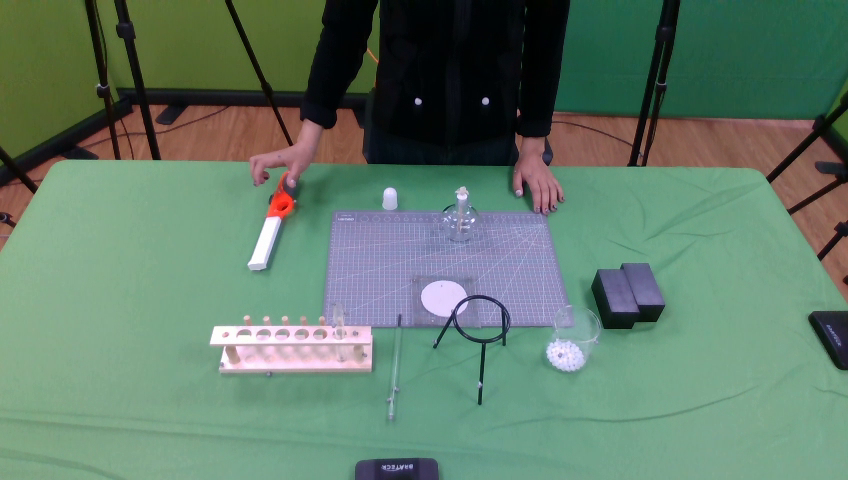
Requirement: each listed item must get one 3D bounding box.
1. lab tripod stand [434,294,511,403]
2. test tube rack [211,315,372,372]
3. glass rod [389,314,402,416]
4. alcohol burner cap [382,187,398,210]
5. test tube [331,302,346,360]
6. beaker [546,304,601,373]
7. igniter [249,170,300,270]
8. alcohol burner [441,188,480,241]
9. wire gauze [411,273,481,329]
[{"bbox_3d":[0.087,0.164,0.969,0.148,0.132,0.147,3,47,-3],"label":"lab tripod stand"},{"bbox_3d":[-0.208,0.163,0.982,0.242,0.085,0.066,1,46,-4],"label":"test tube rack"},{"bbox_3d":[-0.048,0.203,1.007,0.008,0.008,0.198,4,45,0],"label":"glass rod"},{"bbox_3d":[-0.072,-0.090,1.266,0.034,0.048,0.033,2,48,-2],"label":"alcohol burner cap"},{"bbox_3d":[-0.132,0.144,0.938,0.017,0.151,0.017,2,49,-3],"label":"test tube"},{"bbox_3d":[0.242,0.167,1.001,0.084,0.101,0.073,-32,55,-28],"label":"beaker"},{"bbox_3d":[-0.298,-0.049,1.220,0.057,0.025,0.275,-5,45,13],"label":"igniter"},{"bbox_3d":[0.073,-0.055,1.189,0.078,0.120,0.077,1,47,-1],"label":"alcohol burner"},{"bbox_3d":[0.038,0.108,1.103,0.125,0.011,0.120,2,47,-3],"label":"wire gauze"}]
